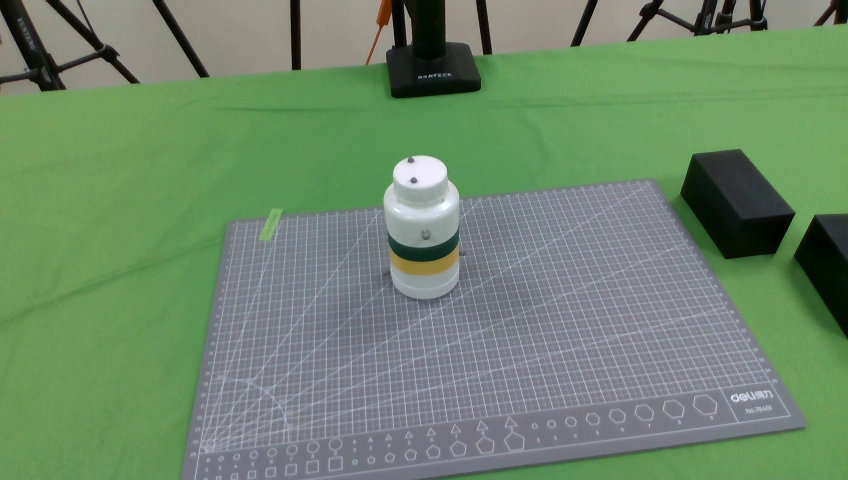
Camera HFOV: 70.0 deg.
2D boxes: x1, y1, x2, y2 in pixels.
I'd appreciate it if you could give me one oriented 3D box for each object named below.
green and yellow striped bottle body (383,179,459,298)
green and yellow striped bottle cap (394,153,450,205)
[{"bbox_3d":[-0.001,-0.011,0.515,0.063,0.121,0.062,-2,44,2],"label":"green and yellow striped bottle body"},{"bbox_3d":[-0.002,-0.049,0.479,0.045,0.020,0.045,-2,45,3],"label":"green and yellow striped bottle cap"}]
